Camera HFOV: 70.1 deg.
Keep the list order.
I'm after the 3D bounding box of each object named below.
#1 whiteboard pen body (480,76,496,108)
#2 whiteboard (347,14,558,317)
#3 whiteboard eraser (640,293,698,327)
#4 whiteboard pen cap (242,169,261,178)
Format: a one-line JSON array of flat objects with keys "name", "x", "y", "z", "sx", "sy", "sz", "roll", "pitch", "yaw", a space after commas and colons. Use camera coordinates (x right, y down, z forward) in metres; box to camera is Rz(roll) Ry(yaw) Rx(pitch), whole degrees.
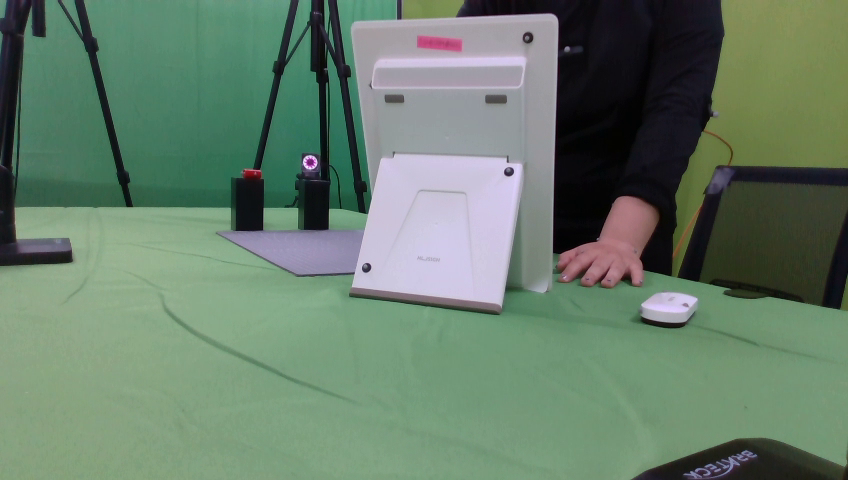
[{"name": "whiteboard pen body", "x": 0.073, "y": -0.170, "z": 0.698, "sx": 0.017, "sy": 0.017, "sz": 0.140, "roll": 3, "pitch": 25, "yaw": 2}, {"name": "whiteboard", "x": 0.012, "y": -0.056, "z": 0.608, "sx": 0.216, "sy": 0.305, "sz": 0.144, "roll": 6, "pitch": 27, "yaw": 20}, {"name": "whiteboard eraser", "x": 0.240, "y": 0.067, "z": 0.590, "sx": 0.041, "sy": 0.019, "sz": 0.102, "roll": 6, "pitch": 7, "yaw": 32}, {"name": "whiteboard pen cap", "x": -0.326, "y": -0.125, "z": 1.144, "sx": 0.032, "sy": 0.017, "sz": 0.017, "roll": 0, "pitch": 8, "yaw": -37}]
